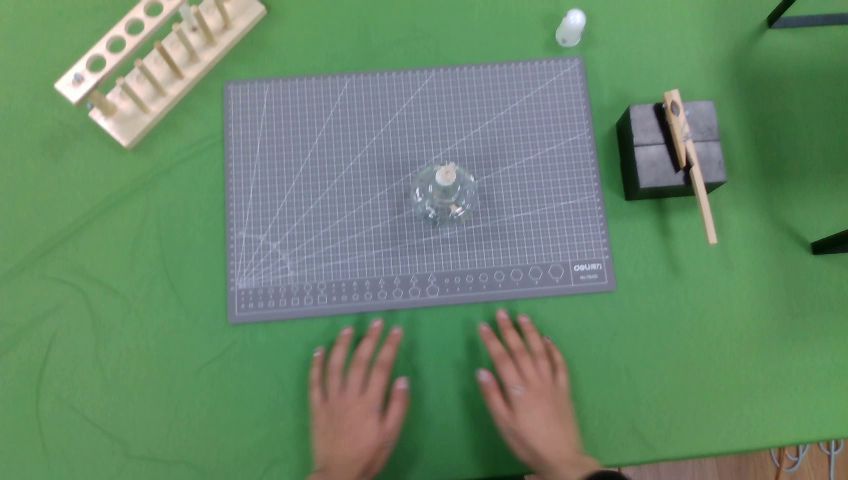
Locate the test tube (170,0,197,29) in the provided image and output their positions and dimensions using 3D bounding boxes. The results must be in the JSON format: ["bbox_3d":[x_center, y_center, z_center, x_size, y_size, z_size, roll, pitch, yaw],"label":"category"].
[{"bbox_3d":[-0.286,-0.287,0.680,0.017,0.151,0.017,0,74,-1],"label":"test tube"}]

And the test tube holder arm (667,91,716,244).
[{"bbox_3d":[0.299,-0.082,0.683,0.013,0.015,0.178,-16,82,13],"label":"test tube holder arm"}]

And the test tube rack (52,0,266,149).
[{"bbox_3d":[-0.304,-0.229,0.718,0.066,0.085,0.242,40,80,8],"label":"test tube rack"}]

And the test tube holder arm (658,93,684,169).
[{"bbox_3d":[0.284,-0.124,0.690,0.010,0.015,0.087,-14,83,14],"label":"test tube holder arm"}]

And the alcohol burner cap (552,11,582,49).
[{"bbox_3d":[0.181,-0.265,0.757,0.034,0.048,0.033,0,77,-1],"label":"alcohol burner cap"}]

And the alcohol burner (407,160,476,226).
[{"bbox_3d":[0.020,-0.057,0.671,0.078,0.119,0.077,1,76,-2],"label":"alcohol burner"}]
